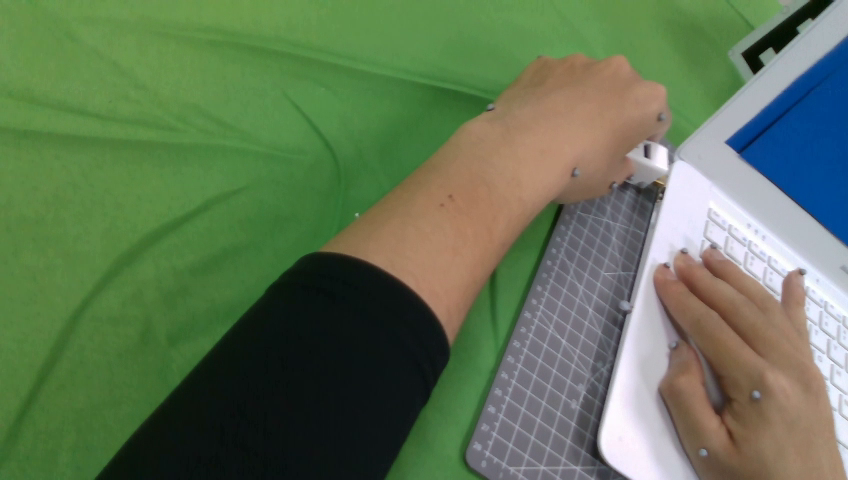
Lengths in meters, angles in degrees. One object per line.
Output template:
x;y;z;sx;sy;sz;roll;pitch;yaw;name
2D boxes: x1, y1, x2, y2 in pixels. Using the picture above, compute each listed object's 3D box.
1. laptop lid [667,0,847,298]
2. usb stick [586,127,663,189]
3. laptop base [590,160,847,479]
0.378;-0.034;0.410;0.358;0.242;0.013;34;33;-10;laptop lid
0.139;-0.052;0.406;0.059;0.027;0.021;19;56;-22;usb stick
0.267;0.125;0.407;0.355;0.023;0.234;35;57;-10;laptop base
